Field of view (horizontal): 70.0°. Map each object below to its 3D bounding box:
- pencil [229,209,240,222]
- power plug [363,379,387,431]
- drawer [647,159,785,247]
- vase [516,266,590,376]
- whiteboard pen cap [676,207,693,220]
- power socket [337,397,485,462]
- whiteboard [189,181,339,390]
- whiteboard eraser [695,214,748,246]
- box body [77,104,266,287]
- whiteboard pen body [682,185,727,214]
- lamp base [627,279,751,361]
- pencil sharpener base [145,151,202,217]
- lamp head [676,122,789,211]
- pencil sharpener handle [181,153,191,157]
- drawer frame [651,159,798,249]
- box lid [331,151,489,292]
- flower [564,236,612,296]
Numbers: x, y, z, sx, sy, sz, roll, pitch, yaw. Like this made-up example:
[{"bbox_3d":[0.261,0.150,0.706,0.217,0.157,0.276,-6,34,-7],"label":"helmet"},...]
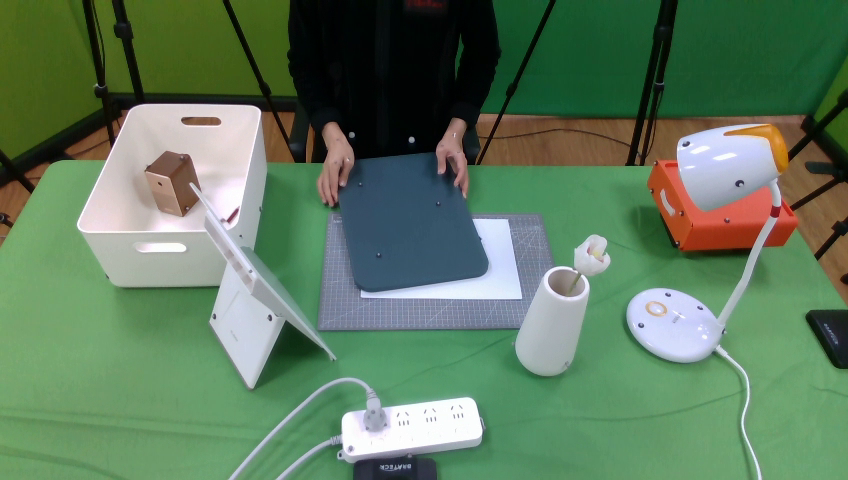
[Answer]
[{"bbox_3d":[-0.401,-0.008,1.176,0.012,0.012,0.193,15,44,10],"label":"pencil"},{"bbox_3d":[-0.072,0.252,0.910,0.035,0.053,0.072,3,45,-1],"label":"power plug"},{"bbox_3d":[0.582,-0.079,1.214,0.212,0.073,0.193,-1,45,-5],"label":"drawer"},{"bbox_3d":[0.208,0.132,0.964,0.098,0.201,0.097,3,46,-3],"label":"vase"},{"bbox_3d":[0.524,-0.053,1.216,0.033,0.018,0.018,-28,54,-23],"label":"whiteboard pen cap"},{"bbox_3d":[-0.018,0.285,0.915,0.227,0.033,0.071,-5,46,-8],"label":"power socket"},{"bbox_3d":[-0.292,0.096,0.929,0.144,0.307,0.216,-37,57,-10],"label":"whiteboard"},{"bbox_3d":[0.592,-0.019,1.209,0.113,0.042,0.055,12,27,-36],"label":"whiteboard eraser"},{"bbox_3d":[-0.447,-0.088,1.150,0.254,0.161,0.361,-1,46,-5],"label":"box body"},{"bbox_3d":[0.572,-0.081,1.237,0.141,0.017,0.017,-26,54,-25],"label":"whiteboard pen body"},{"bbox_3d":[0.459,0.100,1.027,0.178,0.181,0.160,27,51,17],"label":"lamp base"},{"bbox_3d":[-0.491,-0.112,1.199,0.061,0.107,0.076,15,47,12],"label":"pencil sharpener base"},{"bbox_3d":[0.423,-0.104,0.819,0.122,0.113,0.112,-13,33,40],"label":"lamp head"},{"bbox_3d":[-0.478,-0.156,1.225,0.036,0.068,0.030,23,48,3],"label":"pencil sharpener handle"},{"bbox_3d":[0.588,-0.077,1.219,0.214,0.083,0.200,-2,45,-5],"label":"drawer frame"},{"bbox_3d":[-0.038,-0.051,1.237,0.264,0.015,0.369,-8,49,-12],"label":"box lid"},{"bbox_3d":[0.206,0.088,0.893,0.038,0.363,0.044,-17,67,-10],"label":"flower"}]
